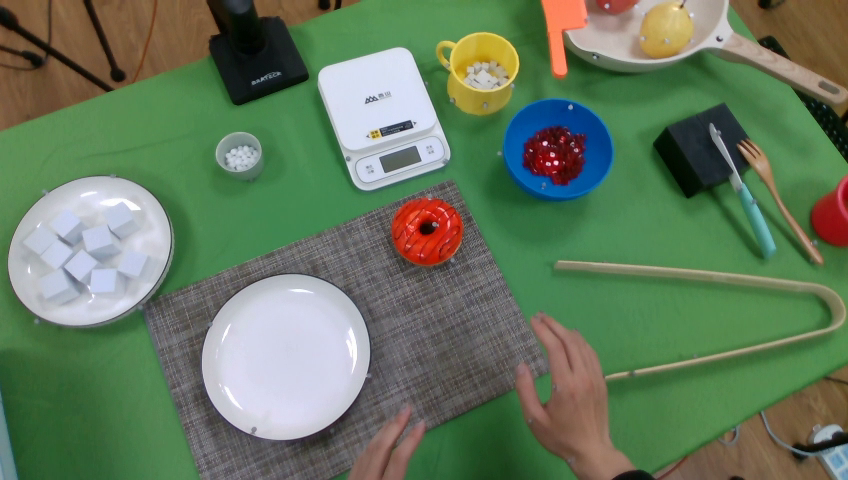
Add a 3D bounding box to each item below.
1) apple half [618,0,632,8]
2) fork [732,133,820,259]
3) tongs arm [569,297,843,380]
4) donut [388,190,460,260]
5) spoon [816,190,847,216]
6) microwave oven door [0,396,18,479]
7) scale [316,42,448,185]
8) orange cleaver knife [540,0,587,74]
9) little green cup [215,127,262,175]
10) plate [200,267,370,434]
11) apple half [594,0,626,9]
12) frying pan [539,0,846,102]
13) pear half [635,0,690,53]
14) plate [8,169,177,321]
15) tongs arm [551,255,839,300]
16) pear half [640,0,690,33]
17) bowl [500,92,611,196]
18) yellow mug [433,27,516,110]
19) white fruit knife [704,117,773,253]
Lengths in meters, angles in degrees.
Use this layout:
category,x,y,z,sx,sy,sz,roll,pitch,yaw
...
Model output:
category,x,y,z,sx,sy,sz,roll,pitch,yaw
apple half,0.309,-0.409,0.943,0.053,0.075,0.080,-32,72,-16
fork,0.497,-0.061,0.850,0.028,0.018,0.207,-32,92,-14
tongs arm,0.373,0.128,0.798,0.385,0.027,0.050,-8,68,-6
donut,0.000,-0.021,0.820,0.099,0.048,0.098,0,73,-1
spoon,0.614,-0.026,0.802,0.041,0.022,0.191,-28,31,-12
microwave oven door,-0.456,0.310,0.573,0.039,0.245,0.353,-21,74,-9
scale,-0.062,-0.188,0.882,0.149,0.032,0.199,-19,74,-8
orange cleaver knife,0.197,-0.338,0.885,0.077,0.012,0.210,-5,73,-4
little green cup,-0.257,-0.122,0.848,0.061,0.039,0.061,1,72,-2
plate,-0.172,0.138,0.765,0.209,0.038,0.208,1,73,-2
apple half,0.278,-0.388,0.934,0.033,0.081,0.081,-32,76,-16
frying pan,0.392,-0.333,0.912,0.485,0.103,0.306,35,75,17
pear half,0.358,-0.321,0.899,0.076,0.110,0.055,12,72,5
plate,-0.430,0.007,0.799,0.208,0.039,0.206,1,72,-2
tongs arm,0.368,0.048,0.828,0.388,0.028,0.028,6,64,-1
pear half,0.367,-0.351,0.919,0.070,0.088,0.031,11,73,4
bowl,0.176,-0.121,0.848,0.151,0.077,0.150,1,73,-2
yellow mug,0.068,-0.260,0.893,0.130,0.064,0.099,32,74,8
white fruit knife,0.437,-0.077,0.845,0.016,0.027,0.207,-25,90,-10
